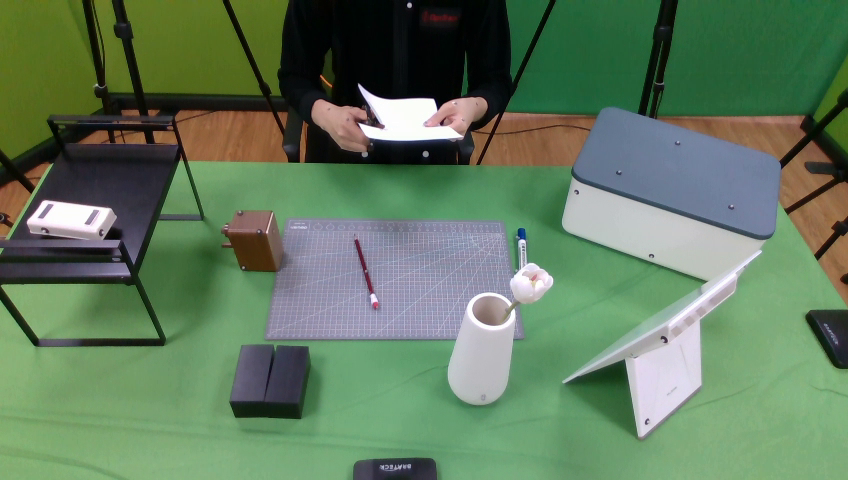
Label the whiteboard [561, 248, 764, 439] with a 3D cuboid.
[{"bbox_3d":[0.386,0.176,0.905,0.217,0.306,0.143,-26,72,-27],"label":"whiteboard"}]

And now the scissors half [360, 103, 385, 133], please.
[{"bbox_3d":[-0.088,-0.204,1.036,0.013,0.040,0.174,-12,26,-13],"label":"scissors half"}]

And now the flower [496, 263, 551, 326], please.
[{"bbox_3d":[0.102,0.121,0.853,0.044,0.363,0.038,-2,64,-10],"label":"flower"}]

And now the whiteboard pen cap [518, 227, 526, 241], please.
[{"bbox_3d":[0.197,-0.009,1.220,0.018,0.018,0.033,5,51,1],"label":"whiteboard pen cap"}]

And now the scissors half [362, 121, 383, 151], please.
[{"bbox_3d":[-0.086,-0.183,1.040,0.013,0.175,0.040,-7,90,-14],"label":"scissors half"}]

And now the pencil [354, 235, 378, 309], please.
[{"bbox_3d":[-0.113,0.055,1.143,0.012,0.012,0.192,-10,46,-13],"label":"pencil"}]

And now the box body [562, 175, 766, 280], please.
[{"bbox_3d":[0.486,-0.088,1.222,0.363,0.161,0.253,20,48,15],"label":"box body"}]

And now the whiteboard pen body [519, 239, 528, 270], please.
[{"bbox_3d":[0.193,0.035,1.181,0.017,0.017,0.140,6,48,1],"label":"whiteboard pen body"}]

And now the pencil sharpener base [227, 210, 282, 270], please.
[{"bbox_3d":[-0.311,0.001,1.112,0.077,0.107,0.061,1,47,1],"label":"pencil sharpener base"}]

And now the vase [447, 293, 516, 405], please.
[{"bbox_3d":[0.091,0.169,0.921,0.098,0.201,0.097,3,47,-3],"label":"vase"}]

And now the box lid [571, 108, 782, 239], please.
[{"bbox_3d":[0.491,-0.139,1.168,0.370,0.015,0.262,21,49,15],"label":"box lid"}]

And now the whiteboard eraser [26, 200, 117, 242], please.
[{"bbox_3d":[-0.532,-0.026,0.919,0.113,0.042,0.055,7,45,3],"label":"whiteboard eraser"}]

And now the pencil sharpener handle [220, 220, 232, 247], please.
[{"bbox_3d":[-0.362,-0.009,1.105,0.030,0.068,0.036,1,52,1],"label":"pencil sharpener handle"}]
